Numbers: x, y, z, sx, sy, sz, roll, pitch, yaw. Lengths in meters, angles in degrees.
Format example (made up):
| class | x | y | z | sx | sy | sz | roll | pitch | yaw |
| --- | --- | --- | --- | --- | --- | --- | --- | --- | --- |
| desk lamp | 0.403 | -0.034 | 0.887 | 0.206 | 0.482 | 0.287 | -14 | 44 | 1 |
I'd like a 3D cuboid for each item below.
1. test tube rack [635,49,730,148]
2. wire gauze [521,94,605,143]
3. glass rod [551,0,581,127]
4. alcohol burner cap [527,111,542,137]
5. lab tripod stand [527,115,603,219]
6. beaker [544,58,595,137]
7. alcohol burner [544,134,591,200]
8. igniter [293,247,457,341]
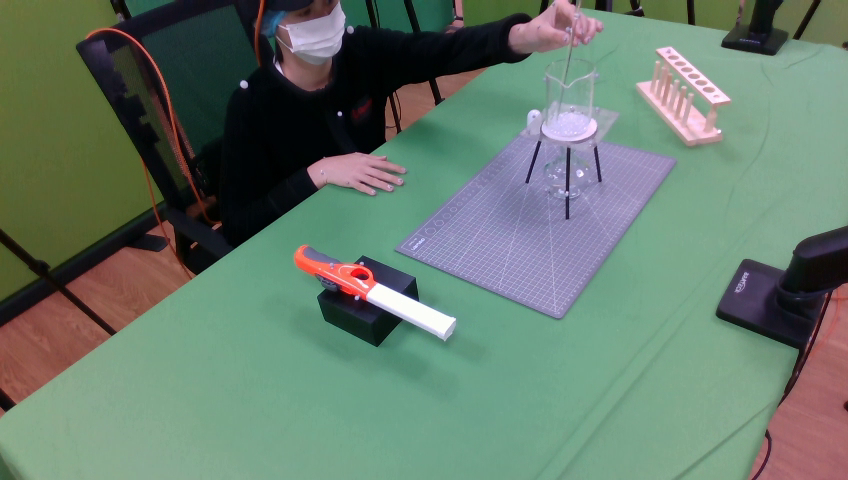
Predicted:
| class | x | y | z | sx | sy | sz | roll | pitch | yaw |
| --- | --- | --- | --- | --- | --- | --- | --- | --- | --- |
| test tube rack | 0.497 | -0.283 | 1.185 | 0.067 | 0.085 | 0.240 | -10 | 40 | -2 |
| wire gauze | 0.220 | -0.190 | 0.949 | 0.121 | 0.011 | 0.125 | 7 | 46 | 14 |
| glass rod | 0.208 | -0.256 | 0.891 | 0.008 | 0.200 | 0.008 | 3 | 39 | -2 |
| alcohol burner cap | 0.221 | -0.233 | 1.200 | 0.034 | 0.048 | 0.033 | -6 | 41 | 6 |
| lab tripod stand | 0.234 | -0.129 | 1.002 | 0.148 | 0.132 | 0.147 | -6 | 40 | 6 |
| beaker | 0.221 | -0.214 | 0.927 | 0.074 | 0.101 | 0.084 | 3 | 42 | 16 |
| alcohol burner | 0.241 | -0.127 | 1.014 | 0.078 | 0.119 | 0.077 | -5 | 41 | 5 |
| igniter | -0.077 | 0.068 | 0.830 | 0.274 | 0.025 | 0.057 | 22 | 48 | 27 |
